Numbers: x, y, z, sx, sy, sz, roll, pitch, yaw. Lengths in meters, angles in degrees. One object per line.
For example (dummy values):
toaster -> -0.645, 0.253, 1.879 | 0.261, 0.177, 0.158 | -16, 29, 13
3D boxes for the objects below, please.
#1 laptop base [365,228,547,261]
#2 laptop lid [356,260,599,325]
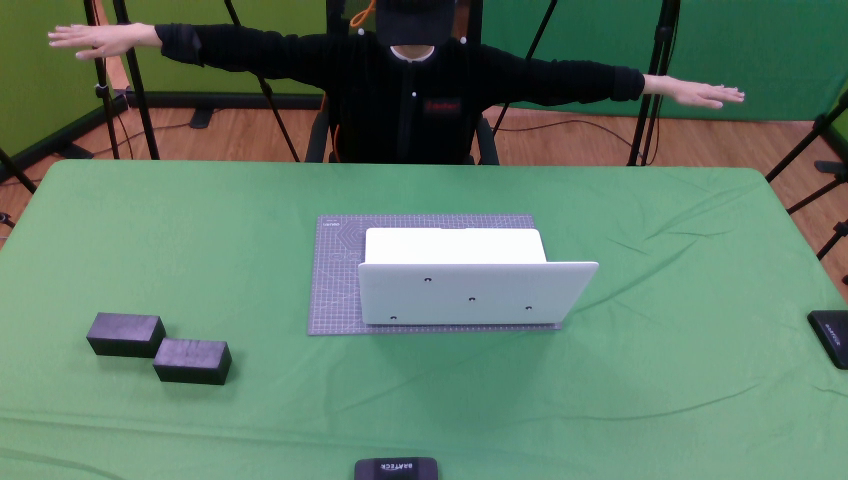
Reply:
laptop base -> 0.064, 0.063, 1.142 | 0.355, 0.023, 0.234 | 0, 42, -4
laptop lid -> 0.074, 0.089, 0.958 | 0.357, 0.242, 0.013 | 1, 60, -5
